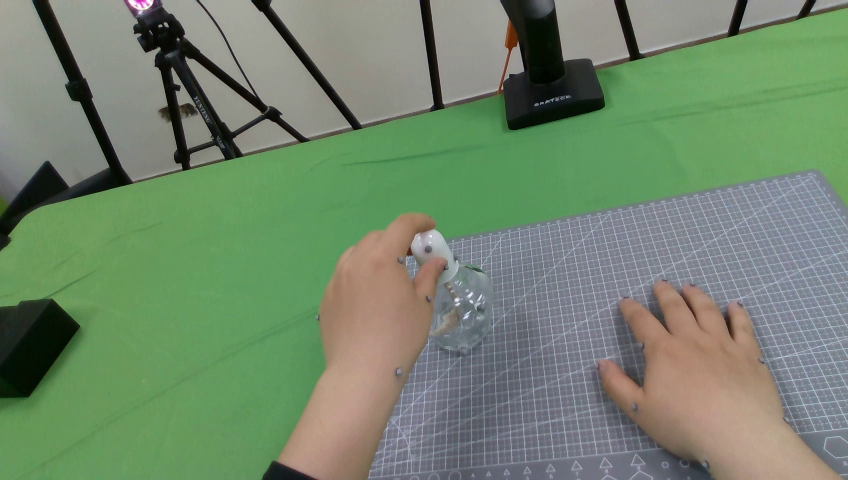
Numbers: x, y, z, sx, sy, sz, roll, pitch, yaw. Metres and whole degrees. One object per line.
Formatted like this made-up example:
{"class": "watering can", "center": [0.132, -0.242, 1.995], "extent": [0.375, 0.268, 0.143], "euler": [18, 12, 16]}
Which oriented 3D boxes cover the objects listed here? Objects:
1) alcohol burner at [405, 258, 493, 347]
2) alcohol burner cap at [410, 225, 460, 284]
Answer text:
{"class": "alcohol burner", "center": [0.017, 0.035, 0.509], "extent": [0.078, 0.120, 0.077], "euler": [-11, 42, 10]}
{"class": "alcohol burner cap", "center": [0.007, 0.008, 0.485], "extent": [0.034, 0.048, 0.033], "euler": [-13, 45, 14]}
